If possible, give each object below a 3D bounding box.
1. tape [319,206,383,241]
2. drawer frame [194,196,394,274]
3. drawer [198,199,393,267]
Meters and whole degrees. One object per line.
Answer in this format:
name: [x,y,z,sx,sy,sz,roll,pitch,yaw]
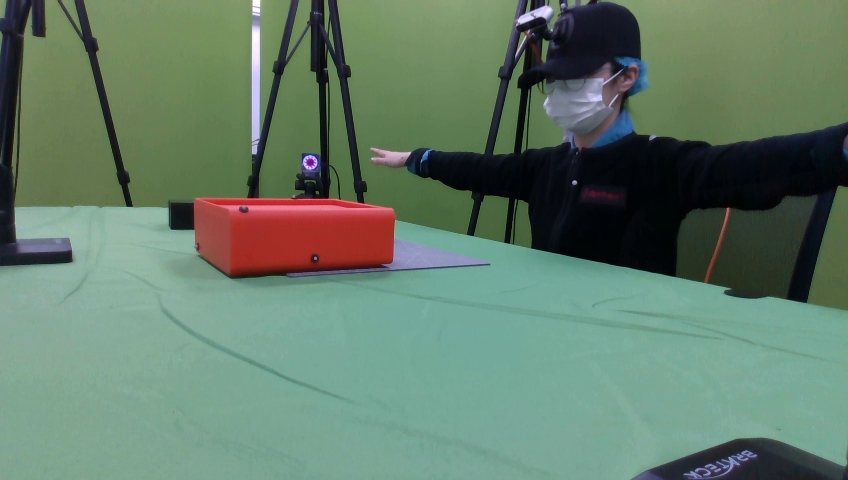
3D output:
tape: [-0.129,-0.030,1.076,0.117,0.052,0.117,2,8,0]
drawer frame: [-0.178,-0.014,0.815,0.215,0.082,0.200,-4,9,-32]
drawer: [-0.177,-0.014,0.817,0.213,0.073,0.193,-3,9,-31]
